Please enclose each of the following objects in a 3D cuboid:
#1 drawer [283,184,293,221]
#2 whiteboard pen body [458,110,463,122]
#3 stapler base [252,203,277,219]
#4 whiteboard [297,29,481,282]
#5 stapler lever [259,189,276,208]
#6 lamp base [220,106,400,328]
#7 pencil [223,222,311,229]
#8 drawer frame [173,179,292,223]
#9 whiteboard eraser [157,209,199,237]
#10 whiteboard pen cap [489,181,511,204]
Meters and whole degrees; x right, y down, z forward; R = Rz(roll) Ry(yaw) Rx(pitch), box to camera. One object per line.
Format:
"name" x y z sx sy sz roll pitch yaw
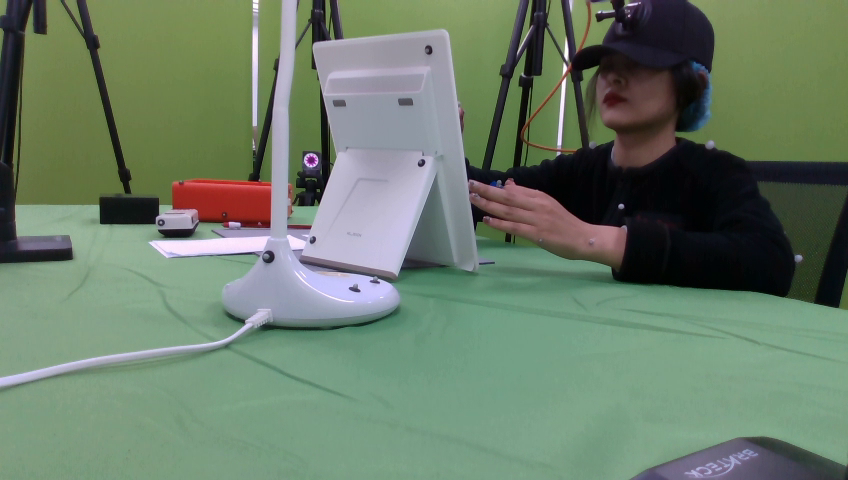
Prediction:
"drawer" -0.396 -0.085 1.301 0.212 0.073 0.194 1 8 -7
"whiteboard pen body" 0.033 -0.171 0.784 0.017 0.017 0.141 4 1 12
"stapler base" -0.341 -0.065 1.301 0.041 0.024 0.130 15 5 -10
"whiteboard" -0.075 -0.082 0.741 0.216 0.305 0.144 9 29 37
"stapler lever" -0.335 -0.090 1.300 0.027 0.040 0.118 15 4 -10
"lamp base" -0.101 -0.023 0.531 0.160 0.180 0.179 4 10 10
"pencil" -0.274 -0.025 1.132 0.195 0.012 0.012 1 8 -25
"drawer frame" -0.400 -0.086 1.300 0.214 0.082 0.201 1 8 -8
"whiteboard eraser" -0.411 -0.029 1.016 0.056 0.042 0.112 2 7 -16
"whiteboard pen cap" 0.099 -0.063 0.794 0.018 0.018 0.033 -4 44 -41
